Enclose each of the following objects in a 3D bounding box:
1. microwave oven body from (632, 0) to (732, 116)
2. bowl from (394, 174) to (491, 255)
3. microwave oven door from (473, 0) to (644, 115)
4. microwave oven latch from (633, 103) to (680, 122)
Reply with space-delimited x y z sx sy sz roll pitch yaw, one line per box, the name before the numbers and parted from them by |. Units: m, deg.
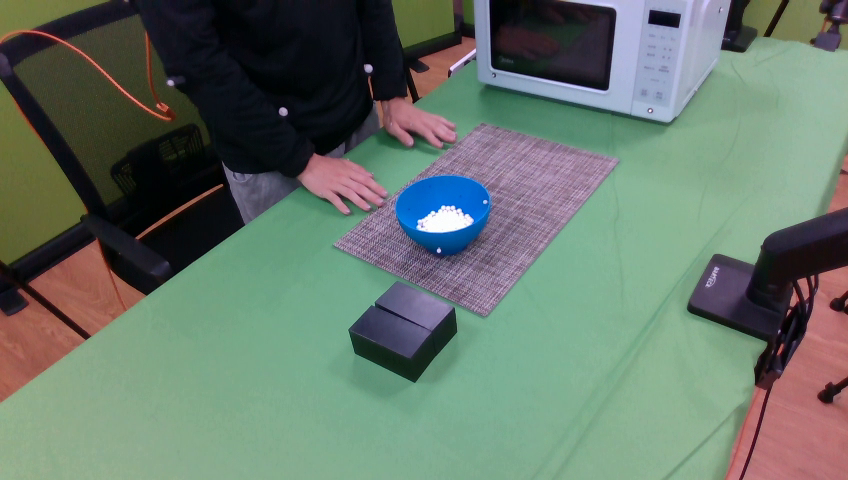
microwave oven body | 0.377 -0.462 1.267 0.438 0.261 0.327 21 48 30
bowl | 0.032 -0.030 0.949 0.151 0.077 0.150 -4 40 4
microwave oven door | 0.257 -0.396 1.199 0.353 0.245 0.039 21 48 29
microwave oven latch | 0.443 -0.249 1.157 0.078 0.029 0.030 21 48 30
